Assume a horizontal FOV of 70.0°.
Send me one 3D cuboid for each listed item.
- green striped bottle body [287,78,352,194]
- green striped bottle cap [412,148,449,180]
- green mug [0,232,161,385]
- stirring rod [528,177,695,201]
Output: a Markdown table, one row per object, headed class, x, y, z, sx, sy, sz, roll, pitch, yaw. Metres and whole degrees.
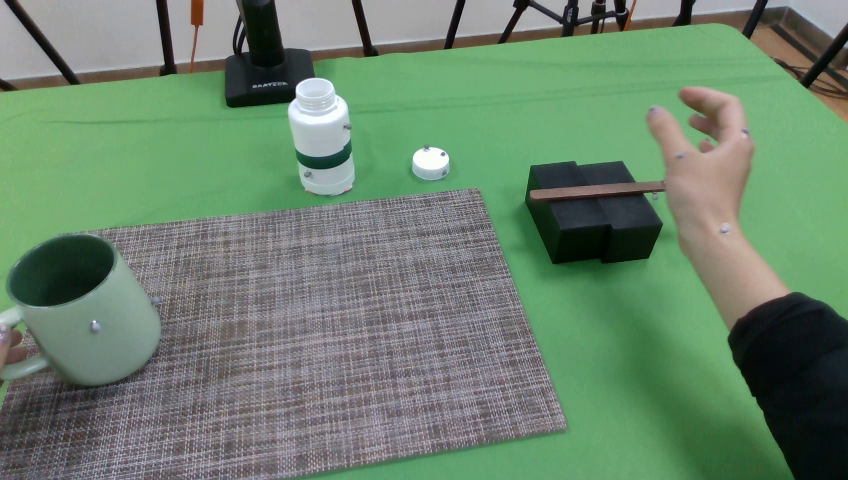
| class | x | y | z | sx | sy | sz | roll | pitch | yaw |
| --- | --- | --- | --- | --- | --- | --- | --- | --- | --- |
| green striped bottle body | -0.113 | -0.113 | 0.660 | 0.063 | 0.120 | 0.062 | 1 | 46 | 0 |
| green striped bottle cap | 0.007 | -0.090 | 0.712 | 0.044 | 0.020 | 0.044 | 0 | 42 | 0 |
| green mug | -0.286 | 0.066 | 0.487 | 0.125 | 0.106 | 0.091 | -34 | 55 | -29 |
| stirring rod | 0.192 | -0.052 | 0.617 | 0.176 | 0.006 | 0.014 | -5 | 48 | -7 |
